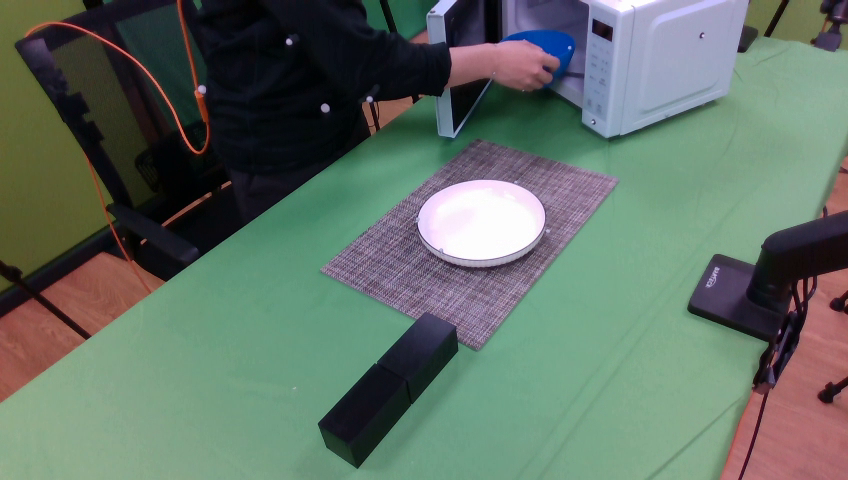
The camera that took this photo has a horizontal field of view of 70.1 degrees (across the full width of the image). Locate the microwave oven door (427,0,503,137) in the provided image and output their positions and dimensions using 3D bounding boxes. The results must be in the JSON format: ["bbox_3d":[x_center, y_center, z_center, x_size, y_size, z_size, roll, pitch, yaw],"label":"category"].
[{"bbox_3d":[0.095,-0.407,1.235,0.039,0.245,0.356,10,44,20],"label":"microwave oven door"}]

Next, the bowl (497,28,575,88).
[{"bbox_3d":[0.220,-0.355,1.201,0.151,0.077,0.150,-2,40,2],"label":"bowl"}]

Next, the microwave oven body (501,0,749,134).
[{"bbox_3d":[0.382,-0.444,1.246,0.327,0.261,0.437,-22,42,-16],"label":"microwave oven body"}]

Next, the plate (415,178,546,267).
[{"bbox_3d":[0.091,-0.026,0.970,0.207,0.039,0.206,-4,41,4],"label":"plate"}]

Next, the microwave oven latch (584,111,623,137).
[{"bbox_3d":[0.337,-0.222,1.142,0.030,0.029,0.078,-21,42,-14],"label":"microwave oven latch"}]
